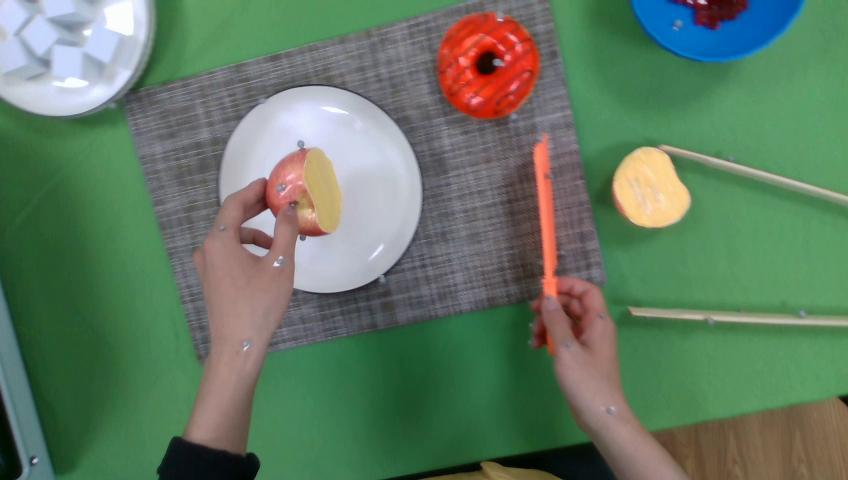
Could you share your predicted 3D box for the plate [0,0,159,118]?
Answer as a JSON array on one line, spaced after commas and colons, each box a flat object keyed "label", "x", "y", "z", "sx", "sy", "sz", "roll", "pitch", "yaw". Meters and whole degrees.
[{"label": "plate", "x": -0.366, "y": -0.228, "z": 0.618, "sx": 0.207, "sy": 0.039, "sz": 0.208, "roll": 1, "pitch": 98, "yaw": 5}]

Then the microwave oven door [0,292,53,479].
[{"label": "microwave oven door", "x": -0.480, "y": 0.131, "z": 0.557, "sx": 0.039, "sy": 0.243, "sz": 0.356, "roll": -10, "pitch": 96, "yaw": 7}]

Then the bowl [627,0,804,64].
[{"label": "bowl", "x": 0.249, "y": -0.229, "z": 0.540, "sx": 0.151, "sy": 0.076, "sz": 0.151, "roll": 1, "pitch": 98, "yaw": 5}]

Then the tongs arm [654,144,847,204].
[{"label": "tongs arm", "x": 0.406, "y": -0.028, "z": 0.579, "sx": 0.387, "sy": 0.028, "sz": 0.028, "roll": 18, "pitch": 91, "yaw": 2}]

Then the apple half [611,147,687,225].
[{"label": "apple half", "x": 0.210, "y": -0.048, "z": 0.587, "sx": 0.081, "sy": 0.033, "sz": 0.081, "roll": 3, "pitch": 78, "yaw": -14}]

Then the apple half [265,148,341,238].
[{"label": "apple half", "x": -0.114, "y": -0.042, "z": 0.552, "sx": 0.053, "sy": 0.074, "sz": 0.081, "roll": -9, "pitch": 117, "yaw": 16}]

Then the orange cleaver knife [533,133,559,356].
[{"label": "orange cleaver knife", "x": 0.120, "y": 0.003, "z": 0.582, "sx": 0.012, "sy": 0.077, "sz": 0.211, "roll": -3, "pitch": 98, "yaw": 20}]

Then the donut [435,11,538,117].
[{"label": "donut", "x": 0.059, "y": -0.167, "z": 0.580, "sx": 0.099, "sy": 0.048, "sz": 0.099, "roll": 1, "pitch": 99, "yaw": 7}]

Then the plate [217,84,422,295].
[{"label": "plate", "x": -0.103, "y": -0.050, "z": 0.614, "sx": 0.209, "sy": 0.038, "sz": 0.209, "roll": 1, "pitch": 98, "yaw": 5}]

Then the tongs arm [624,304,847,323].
[{"label": "tongs arm", "x": 0.394, "y": 0.057, "z": 0.588, "sx": 0.384, "sy": 0.026, "sz": 0.051, "roll": 3, "pitch": 94, "yaw": 4}]

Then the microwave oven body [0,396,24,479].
[{"label": "microwave oven body", "x": -0.630, "y": 0.113, "z": 0.573, "sx": 0.326, "sy": 0.259, "sz": 0.442, "roll": -10, "pitch": 97, "yaw": 6}]
